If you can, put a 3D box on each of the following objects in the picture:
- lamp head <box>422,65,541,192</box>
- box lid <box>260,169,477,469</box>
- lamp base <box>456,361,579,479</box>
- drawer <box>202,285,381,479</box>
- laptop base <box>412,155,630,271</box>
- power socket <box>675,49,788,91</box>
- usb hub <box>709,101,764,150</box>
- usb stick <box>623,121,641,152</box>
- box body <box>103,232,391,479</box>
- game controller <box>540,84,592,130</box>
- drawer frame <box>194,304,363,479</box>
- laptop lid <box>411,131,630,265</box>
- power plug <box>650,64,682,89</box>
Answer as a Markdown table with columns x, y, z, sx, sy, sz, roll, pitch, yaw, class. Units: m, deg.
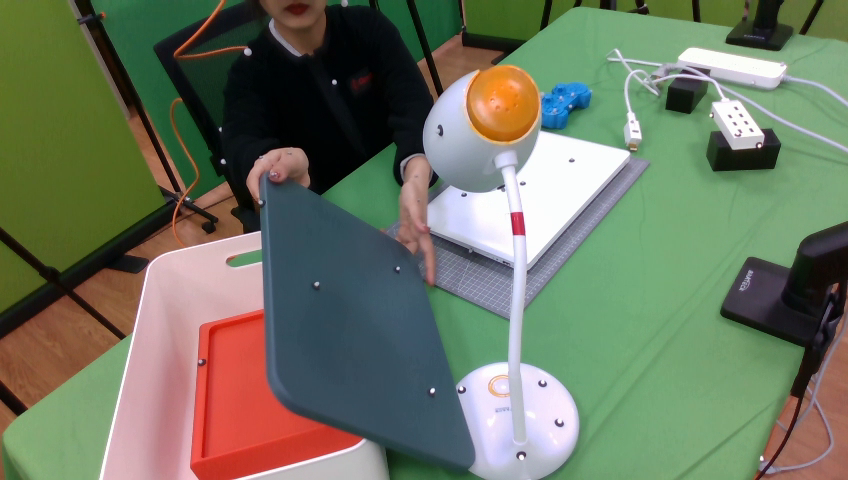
| x | y | z | sx | sy | sz | roll | pitch | yaw | class |
| --- | --- | --- | --- | --- | --- | --- | --- | --- | --- |
| 0.060 | -0.106 | 0.560 | 0.113 | 0.112 | 0.122 | -16 | 1 | -8 | lamp head |
| -0.072 | 0.073 | 0.697 | 0.015 | 0.265 | 0.368 | -44 | 37 | 19 | box lid |
| 0.094 | 0.158 | 0.657 | 0.161 | 0.181 | 0.178 | -14 | 42 | -5 | lamp base |
| -0.171 | 0.174 | 0.760 | 0.195 | 0.073 | 0.210 | -15 | 43 | -6 | drawer |
| 0.176 | -0.085 | 1.056 | 0.233 | 0.023 | 0.355 | 20 | 48 | 36 | laptop base |
| 0.647 | -0.363 | 1.284 | 0.225 | 0.033 | 0.072 | 26 | 52 | 35 | power socket |
| 0.534 | -0.199 | 1.040 | 0.049 | 0.025 | 0.124 | -5 | 39 | 8 | usb hub |
| 0.389 | -0.191 | 1.129 | 0.021 | 0.027 | 0.059 | 7 | 62 | -8 | usb stick |
| -0.190 | 0.161 | 0.723 | 0.255 | 0.161 | 0.361 | -13 | 40 | -5 | box body |
| 0.277 | -0.282 | 1.251 | 0.096 | 0.052 | 0.155 | 27 | 52 | 31 | game controller |
| -0.172 | 0.174 | 0.755 | 0.202 | 0.083 | 0.212 | -15 | 42 | -6 | drawer frame |
| 0.172 | -0.094 | 1.050 | 0.239 | 0.013 | 0.358 | 23 | 49 | 36 | laptop lid |
| 0.498 | -0.341 | 1.263 | 0.035 | 0.052 | 0.072 | 20 | 10 | -7 | power plug |
